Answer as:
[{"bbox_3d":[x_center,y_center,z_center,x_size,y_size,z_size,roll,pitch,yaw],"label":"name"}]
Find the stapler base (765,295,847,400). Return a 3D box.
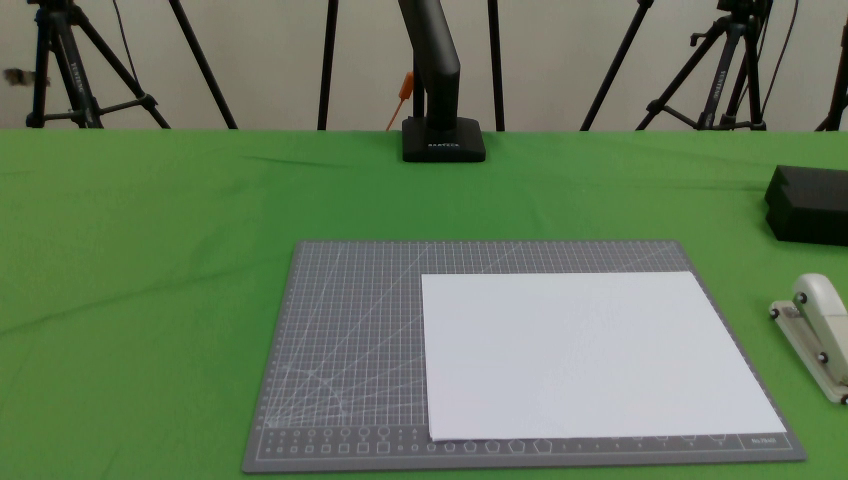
[{"bbox_3d":[0.377,0.094,0.581,0.041,0.024,0.129,-2,39,-1],"label":"stapler base"}]

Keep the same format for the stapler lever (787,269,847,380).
[{"bbox_3d":[0.378,0.075,0.564,0.027,0.040,0.117,-2,39,-1],"label":"stapler lever"}]
